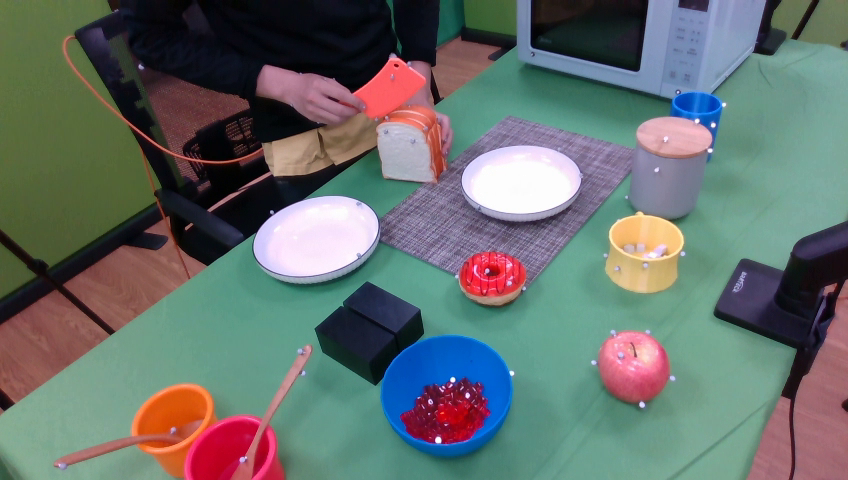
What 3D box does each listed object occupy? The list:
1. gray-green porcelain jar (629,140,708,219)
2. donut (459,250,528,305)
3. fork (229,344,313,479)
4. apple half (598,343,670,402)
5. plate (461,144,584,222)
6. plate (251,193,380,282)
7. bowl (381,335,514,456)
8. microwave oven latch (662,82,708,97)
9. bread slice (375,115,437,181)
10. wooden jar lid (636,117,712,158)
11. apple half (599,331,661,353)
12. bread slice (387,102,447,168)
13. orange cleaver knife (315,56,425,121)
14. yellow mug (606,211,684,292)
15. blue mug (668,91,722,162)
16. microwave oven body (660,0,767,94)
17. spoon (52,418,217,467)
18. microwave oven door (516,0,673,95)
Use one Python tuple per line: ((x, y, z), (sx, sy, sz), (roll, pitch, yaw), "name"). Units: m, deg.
((0.383, -0.105, 0.958), (0.106, 0.127, 0.105), (-4, 41, 4), "gray-green porcelain jar")
((0.100, 0.053, 0.872), (0.099, 0.048, 0.098), (-5, 40, 4), "donut")
((-0.173, 0.205, 0.662), (0.028, 0.019, 0.207), (29, 94, 36), "fork")
((0.247, 0.161, 0.710), (0.081, 0.075, 0.053), (2, 47, 5), "apple half")
((0.167, -0.095, 1.040), (0.207, 0.039, 0.206), (-4, 40, 4), "plate")
((-0.173, -0.001, 0.984), (0.209, 0.038, 0.208), (-4, 40, 4), "plate")
((0.029, 0.192, 0.701), (0.151, 0.077, 0.150), (-4, 40, 4), "bowl")
((0.517, -0.298, 1.202), (0.078, 0.029, 0.030), (27, 52, 34), "microwave oven latch")
((-0.036, -0.162, 1.076), (0.106, 0.135, 0.018), (5, 48, 18), "bread slice")
((0.377, -0.151, 0.917), (0.108, 0.021, 0.108), (-2, 42, 2), "wooden jar lid")
((0.249, 0.134, 0.738), (0.081, 0.081, 0.032), (-1, 46, 7), "apple half")
((-0.013, -0.193, 1.112), (0.104, 0.132, 0.019), (7, 44, 17), "bread slice")
((-0.093, -0.239, 1.015), (0.210, 0.078, 0.012), (-23, 40, 32), "orange cleaver knife")
((0.318, 0.008, 0.883), (0.100, 0.064, 0.130), (0, 40, 9), "yellow mug")
((0.474, -0.207, 1.079), (0.082, 0.106, 0.116), (4, 42, 13), "blue mug")
((0.473, -0.516, 1.313), (0.438, 0.261, 0.327), (26, 51, 34), "microwave oven body")
((-0.308, 0.220, 0.663), (0.041, 0.195, 0.021), (21, 93, 29), "spoon")
((0.344, -0.458, 1.256), (0.353, 0.245, 0.039), (26, 51, 33), "microwave oven door")
